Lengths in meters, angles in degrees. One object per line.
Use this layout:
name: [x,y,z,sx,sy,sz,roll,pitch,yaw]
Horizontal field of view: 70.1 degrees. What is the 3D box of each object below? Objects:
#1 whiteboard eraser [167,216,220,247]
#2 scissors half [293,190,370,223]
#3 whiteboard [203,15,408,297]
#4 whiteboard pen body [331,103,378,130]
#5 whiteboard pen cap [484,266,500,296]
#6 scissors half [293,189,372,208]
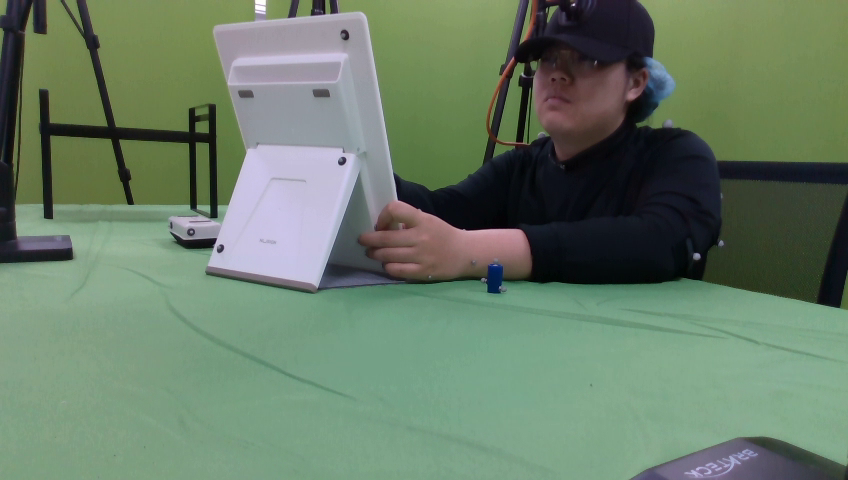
whiteboard eraser: [-0.350,-0.013,0.920,0.056,0.042,0.112,0,7,-35]
scissors half: [-0.205,-0.077,1.338,0.175,0.040,0.013,22,12,-8]
whiteboard: [-0.166,-0.072,0.668,0.216,0.305,0.144,8,30,30]
whiteboard pen body: [-0.086,-0.153,0.749,0.017,0.017,0.141,5,22,14]
whiteboard pen cap: [0.075,0.046,0.668,0.018,0.033,0.018,2,7,0]
scissors half: [-0.201,-0.096,1.332,0.175,0.040,0.013,5,19,-4]
